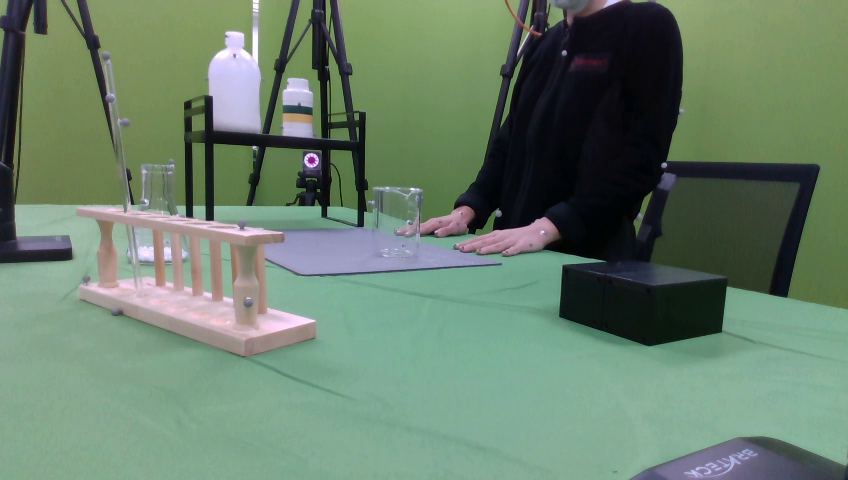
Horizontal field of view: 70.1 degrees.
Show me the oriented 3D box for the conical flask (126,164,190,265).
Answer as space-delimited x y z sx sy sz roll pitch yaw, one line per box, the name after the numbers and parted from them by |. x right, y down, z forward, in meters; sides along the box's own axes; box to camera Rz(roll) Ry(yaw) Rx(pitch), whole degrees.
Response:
-0.332 -0.033 0.756 0.075 0.122 0.075 2 7 0 | conical flask

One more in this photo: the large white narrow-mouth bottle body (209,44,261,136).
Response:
-0.373 -0.306 1.197 0.102 0.194 0.102 4 8 0 | large white narrow-mouth bottle body

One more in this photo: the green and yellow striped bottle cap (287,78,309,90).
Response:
-0.265 -0.326 1.268 0.045 0.020 0.045 4 6 0 | green and yellow striped bottle cap

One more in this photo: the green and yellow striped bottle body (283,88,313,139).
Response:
-0.266 -0.275 1.275 0.063 0.119 0.063 3 7 0 | green and yellow striped bottle body

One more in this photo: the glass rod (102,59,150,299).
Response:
-0.243 -0.045 0.496 0.008 0.199 0.008 -4 13 1 | glass rod

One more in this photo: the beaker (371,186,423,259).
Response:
-0.038 -0.025 0.869 0.074 0.100 0.083 -1 8 -22 | beaker

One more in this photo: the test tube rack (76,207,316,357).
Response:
-0.196 0.023 0.500 0.241 0.085 0.067 8 9 36 | test tube rack

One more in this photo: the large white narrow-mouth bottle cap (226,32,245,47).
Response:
-0.368 -0.391 1.183 0.038 0.024 0.037 4 8 0 | large white narrow-mouth bottle cap
